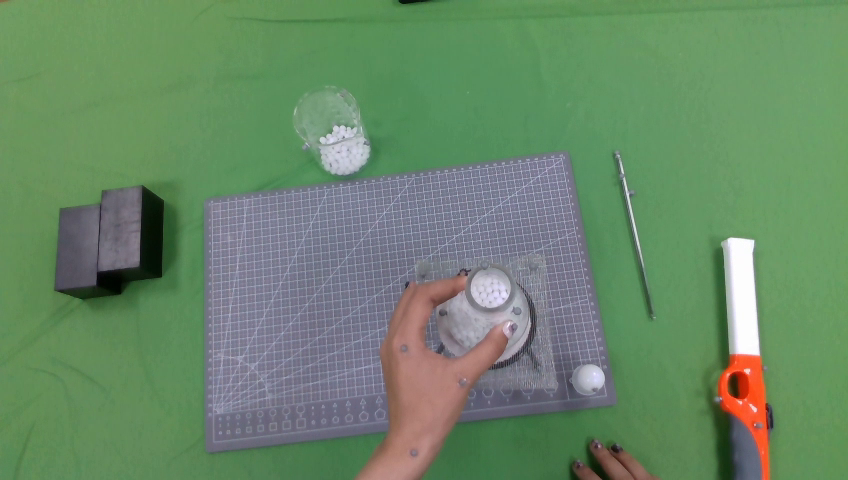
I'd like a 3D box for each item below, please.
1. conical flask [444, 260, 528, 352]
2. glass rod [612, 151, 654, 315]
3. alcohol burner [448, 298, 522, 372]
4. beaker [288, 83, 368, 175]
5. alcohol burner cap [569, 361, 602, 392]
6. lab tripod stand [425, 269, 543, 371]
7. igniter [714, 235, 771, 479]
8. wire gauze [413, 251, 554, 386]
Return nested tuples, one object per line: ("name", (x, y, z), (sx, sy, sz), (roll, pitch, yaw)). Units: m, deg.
("conical flask", (0.051, 0.049, 0.495), (0.075, 0.122, 0.075), (-1, 75, 4))
("glass rod", (0.239, -0.012, 0.696), (0.008, 0.008, 0.198), (-8, 73, 2))
("alcohol burner", (0.062, 0.095, 0.623), (0.078, 0.120, 0.077), (-2, 74, 7))
("beaker", (-0.104, -0.124, 0.709), (0.083, 0.101, 0.074), (28, 78, 11))
("alcohol burner cap", (0.172, 0.142, 0.638), (0.034, 0.048, 0.033), (-1, 74, 5))
("lab tripod stand", (0.060, 0.091, 0.614), (0.148, 0.132, 0.147), (-1, 76, 5))
("igniter", (0.334, 0.128, 0.640), (0.057, 0.025, 0.275), (6, 74, -5))
("wire gauze", (0.052, 0.071, 0.551), (0.125, 0.011, 0.121), (-1, 76, 3))
